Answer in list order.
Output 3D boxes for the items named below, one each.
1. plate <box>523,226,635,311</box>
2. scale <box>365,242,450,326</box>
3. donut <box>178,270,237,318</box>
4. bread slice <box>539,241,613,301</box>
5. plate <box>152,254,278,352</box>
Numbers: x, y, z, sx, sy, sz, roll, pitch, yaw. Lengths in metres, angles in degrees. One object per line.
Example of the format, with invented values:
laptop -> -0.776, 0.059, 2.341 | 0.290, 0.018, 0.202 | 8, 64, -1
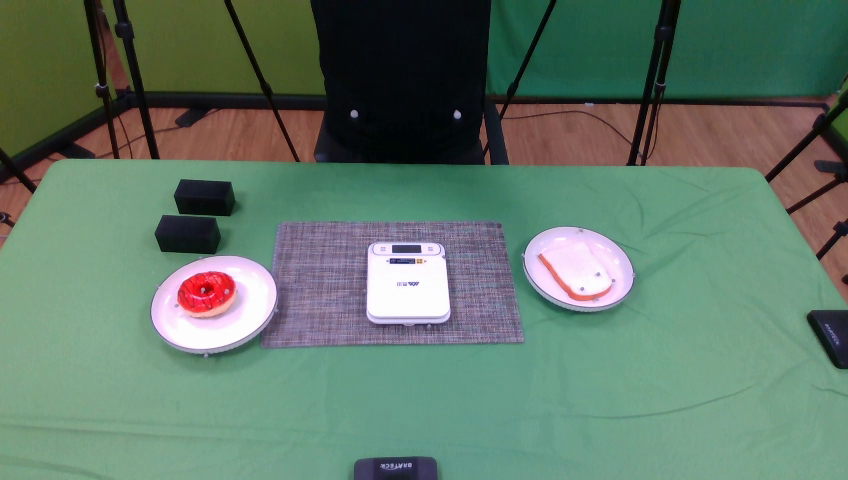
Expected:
plate -> 0.291, 0.058, 1.151 | 0.209, 0.038, 0.208 | 2, 45, -2
scale -> -0.032, 0.071, 1.113 | 0.149, 0.032, 0.199 | 0, 46, -4
donut -> -0.375, 0.092, 1.053 | 0.099, 0.048, 0.098 | 1, 42, 0
bread slice -> 0.297, 0.058, 1.153 | 0.105, 0.019, 0.130 | -15, 50, -18
plate -> -0.357, 0.111, 1.052 | 0.208, 0.039, 0.206 | 2, 46, -2
